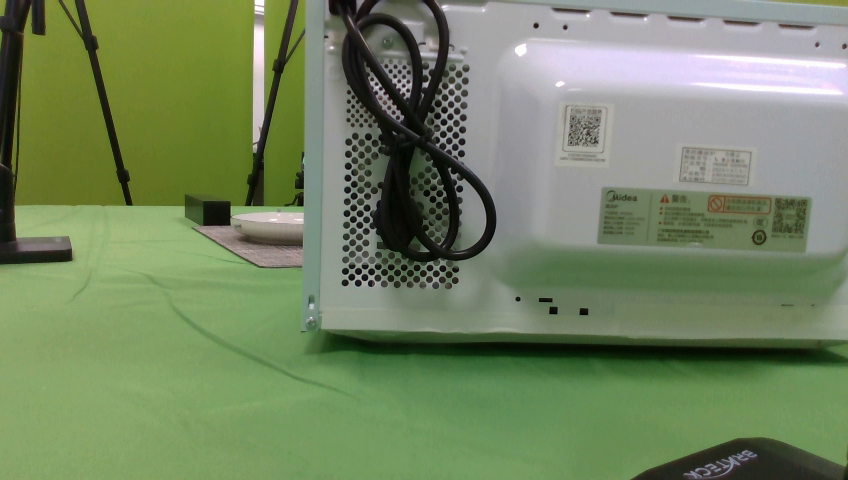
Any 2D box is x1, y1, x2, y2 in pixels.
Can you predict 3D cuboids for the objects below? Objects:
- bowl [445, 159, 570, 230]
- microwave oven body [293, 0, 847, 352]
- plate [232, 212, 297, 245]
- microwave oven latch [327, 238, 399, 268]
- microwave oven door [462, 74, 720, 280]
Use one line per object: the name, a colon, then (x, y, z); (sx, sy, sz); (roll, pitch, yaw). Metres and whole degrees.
bowl: (0.099, -0.056, 0.738); (0.151, 0.077, 0.151); (2, 10, 0)
microwave oven body: (0.122, -0.055, 0.550); (0.442, 0.260, 0.325); (3, 7, -5)
plate: (-0.214, -0.019, 1.018); (0.208, 0.039, 0.207); (2, 7, 0)
microwave oven latch: (-0.069, 0.015, 0.694); (0.079, 0.029, 0.030); (3, 7, -3)
microwave oven door: (0.203, -0.092, 0.826); (0.354, 0.243, 0.039); (9, 10, 43)
